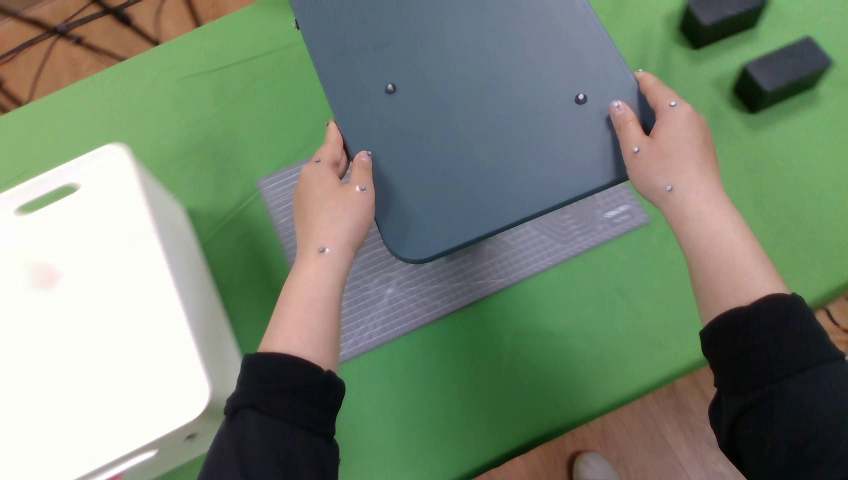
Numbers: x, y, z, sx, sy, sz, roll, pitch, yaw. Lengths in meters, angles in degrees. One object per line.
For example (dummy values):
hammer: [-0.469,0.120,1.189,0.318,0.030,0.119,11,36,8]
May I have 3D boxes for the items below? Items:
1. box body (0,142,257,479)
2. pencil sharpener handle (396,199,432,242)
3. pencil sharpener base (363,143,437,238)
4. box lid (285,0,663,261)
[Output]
box body: [-0.382,0.104,0.716,0.254,0.161,0.361,-27,67,-4]
pencil sharpener handle: [-0.007,-0.021,0.732,0.036,0.068,0.030,-27,66,6]
pencil sharpener base: [-0.027,-0.058,0.763,0.061,0.108,0.076,-23,67,-3]
box lid: [0.027,-0.182,0.571,0.263,0.015,0.368,-22,70,-2]
